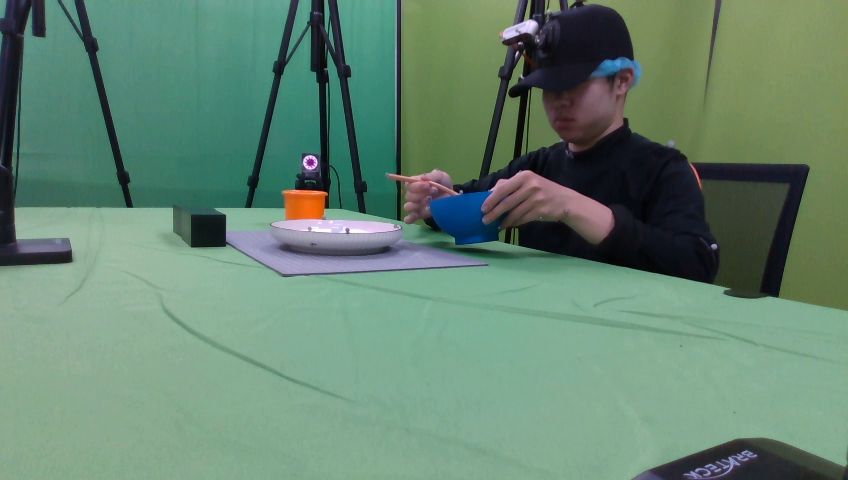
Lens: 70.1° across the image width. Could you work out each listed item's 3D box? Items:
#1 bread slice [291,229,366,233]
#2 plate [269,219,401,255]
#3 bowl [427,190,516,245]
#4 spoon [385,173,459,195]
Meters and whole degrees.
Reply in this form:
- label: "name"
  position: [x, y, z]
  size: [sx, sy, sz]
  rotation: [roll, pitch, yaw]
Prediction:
- label: "bread slice"
  position: [-0.143, -0.003, 0.953]
  size: [0.135, 0.018, 0.106]
  rotation: [-1, 8, -37]
- label: "plate"
  position: [-0.140, -0.006, 0.958]
  size: [0.209, 0.038, 0.209]
  rotation: [3, 7, 0]
- label: "bowl"
  position: [0.084, -0.034, 1.011]
  size: [0.151, 0.076, 0.151]
  rotation: [-6, -2, 0]
- label: "spoon"
  position: [0.021, -0.089, 1.025]
  size: [0.193, 0.021, 0.042]
  rotation: [20, 10, 19]
